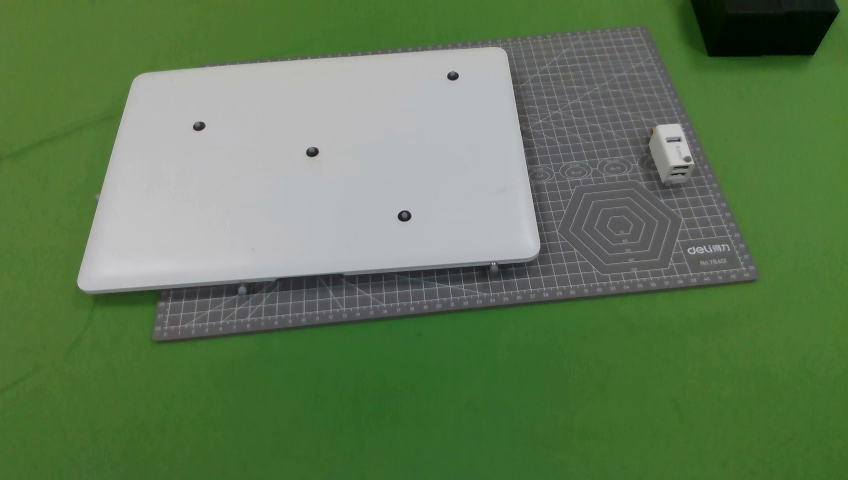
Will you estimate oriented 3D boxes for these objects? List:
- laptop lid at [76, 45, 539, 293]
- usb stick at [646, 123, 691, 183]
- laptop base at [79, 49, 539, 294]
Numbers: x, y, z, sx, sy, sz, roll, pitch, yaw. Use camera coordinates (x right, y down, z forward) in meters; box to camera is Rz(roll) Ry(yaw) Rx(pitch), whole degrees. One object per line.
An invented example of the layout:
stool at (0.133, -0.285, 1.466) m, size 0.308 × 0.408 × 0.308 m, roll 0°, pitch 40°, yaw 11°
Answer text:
laptop lid at (-0.094, -0.072, 0.510) m, size 0.357 × 0.013 × 0.239 m, roll -3°, pitch 59°, yaw 1°
usb stick at (0.202, -0.078, 0.506) m, size 0.021 × 0.027 × 0.058 m, roll -5°, pitch 54°, yaw 1°
laptop base at (-0.094, -0.067, 0.521) m, size 0.354 × 0.023 × 0.233 m, roll -4°, pitch 60°, yaw 0°
